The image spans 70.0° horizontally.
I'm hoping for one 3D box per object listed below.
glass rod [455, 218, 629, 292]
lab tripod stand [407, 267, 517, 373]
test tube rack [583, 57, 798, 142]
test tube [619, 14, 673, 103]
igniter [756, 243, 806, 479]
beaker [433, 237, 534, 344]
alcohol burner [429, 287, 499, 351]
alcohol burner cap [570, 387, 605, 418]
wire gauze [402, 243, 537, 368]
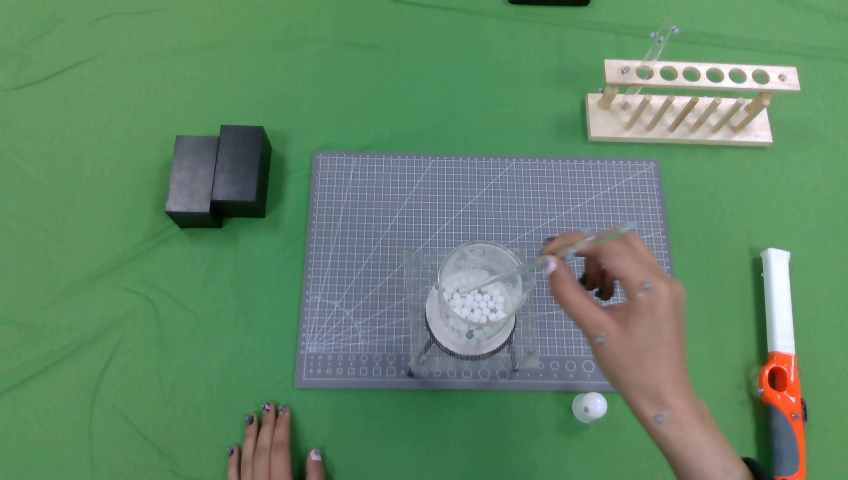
[{"bbox_3d":[0.075,0.016,0.446,0.008,0.199,0.008,9,70,-27],"label":"glass rod"},{"bbox_3d":[0.041,0.087,0.645,0.148,0.132,0.147,0,69,0],"label":"lab tripod stand"},{"bbox_3d":[0.338,-0.179,0.779,0.242,0.085,0.066,1,70,-2],"label":"test tube rack"},{"bbox_3d":[0.267,-0.216,0.737,0.017,0.151,0.017,0,67,-1],"label":"test tube"},{"bbox_3d":[0.411,0.136,0.703,0.057,0.025,0.275,11,70,-9],"label":"igniter"},{"bbox_3d":[0.047,0.049,0.538,0.084,0.101,0.073,-3,70,-3],"label":"beaker"},{"bbox_3d":[0.046,0.083,0.657,0.078,0.120,0.077,1,69,-3],"label":"alcohol burner"},{"bbox_3d":[0.184,0.179,0.671,0.034,0.048,0.033,1,69,-1],"label":"alcohol burner cap"},{"bbox_3d":[0.043,0.062,0.584,0.125,0.011,0.120,-2,68,-1],"label":"wire gauze"}]
